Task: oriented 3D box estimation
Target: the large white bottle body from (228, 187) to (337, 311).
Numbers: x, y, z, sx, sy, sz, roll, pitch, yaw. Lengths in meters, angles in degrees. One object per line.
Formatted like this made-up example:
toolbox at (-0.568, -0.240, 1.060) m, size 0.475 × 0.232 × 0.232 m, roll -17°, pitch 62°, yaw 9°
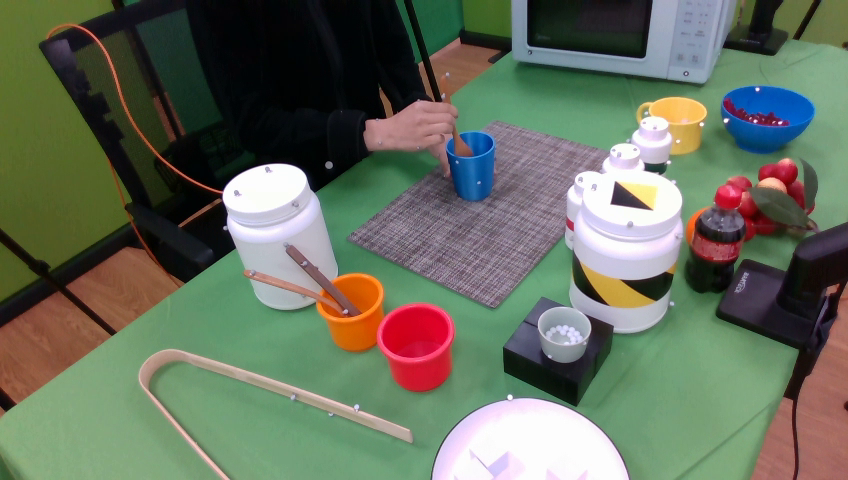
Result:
large white bottle body at (-0.207, -0.002, 0.883) m, size 0.130 × 0.185 × 0.130 m, roll -4°, pitch 40°, yaw 4°

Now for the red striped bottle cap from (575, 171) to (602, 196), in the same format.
red striped bottle cap at (0.242, -0.081, 0.876) m, size 0.044 × 0.018 × 0.044 m, roll -5°, pitch 44°, yaw 5°

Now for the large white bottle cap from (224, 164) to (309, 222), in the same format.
large white bottle cap at (-0.215, -0.066, 0.829) m, size 0.115 × 0.018 × 0.114 m, roll -4°, pitch 40°, yaw 4°

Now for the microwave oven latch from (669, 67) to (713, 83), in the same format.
microwave oven latch at (0.556, -0.349, 1.261) m, size 0.078 × 0.029 × 0.030 m, roll 16°, pitch 46°, yaw 27°

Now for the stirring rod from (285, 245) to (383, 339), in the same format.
stirring rod at (-0.121, 0.071, 0.820) m, size 0.176 × 0.006 × 0.014 m, roll 44°, pitch 52°, yaw -6°

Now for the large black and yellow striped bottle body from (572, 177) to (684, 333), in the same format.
large black and yellow striped bottle body at (0.262, 0.017, 0.788) m, size 0.131 × 0.185 × 0.130 m, roll -5°, pitch 40°, yaw 4°

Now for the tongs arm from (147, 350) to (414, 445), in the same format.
tongs arm at (-0.193, 0.200, 0.757) m, size 0.382 × 0.026 × 0.051 m, roll 14°, pitch 49°, yaw 24°

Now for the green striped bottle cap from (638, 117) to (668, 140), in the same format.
green striped bottle cap at (0.369, -0.180, 0.974) m, size 0.044 × 0.020 × 0.044 m, roll -4°, pitch 41°, yaw 4°

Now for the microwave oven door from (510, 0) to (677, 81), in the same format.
microwave oven door at (0.354, -0.478, 1.290) m, size 0.353 × 0.245 × 0.039 m, roll 15°, pitch 45°, yaw 25°

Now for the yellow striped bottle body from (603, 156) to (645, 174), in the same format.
yellow striped bottle body at (0.313, -0.089, 0.956) m, size 0.063 × 0.121 × 0.062 m, roll -4°, pitch 40°, yaw 4°

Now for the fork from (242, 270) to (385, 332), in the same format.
fork at (-0.142, 0.082, 0.802) m, size 0.209 × 0.018 × 0.028 m, roll 28°, pitch 38°, yaw -26°

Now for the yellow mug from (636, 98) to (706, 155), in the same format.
yellow mug at (0.453, -0.217, 1.128) m, size 0.100 × 0.064 × 0.129 m, roll -34°, pitch 46°, yaw -27°

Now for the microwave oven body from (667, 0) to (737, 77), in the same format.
microwave oven body at (0.462, -0.552, 1.368) m, size 0.439 × 0.261 × 0.326 m, roll 14°, pitch 45°, yaw 26°

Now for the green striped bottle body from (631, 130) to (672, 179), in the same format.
green striped bottle body at (0.375, -0.140, 1.007) m, size 0.063 × 0.120 × 0.063 m, roll -5°, pitch 40°, yaw 4°

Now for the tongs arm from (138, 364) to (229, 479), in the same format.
tongs arm at (-0.241, 0.255, 0.706) m, size 0.384 × 0.028 × 0.028 m, roll 27°, pitch 59°, yaw 34°

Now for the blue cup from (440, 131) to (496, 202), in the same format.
blue cup at (0.083, -0.122, 1.042) m, size 0.092 × 0.100 × 0.092 m, roll -5°, pitch 40°, yaw 5°

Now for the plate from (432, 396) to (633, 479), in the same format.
plate at (0.112, 0.261, 0.634) m, size 0.209 × 0.038 × 0.208 m, roll -5°, pitch 40°, yaw 4°

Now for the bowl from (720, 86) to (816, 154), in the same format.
bowl at (0.605, -0.206, 1.081) m, size 0.151 × 0.077 × 0.150 m, roll -5°, pitch 40°, yaw 5°

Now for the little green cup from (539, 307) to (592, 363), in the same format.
little green cup at (0.168, 0.115, 0.721) m, size 0.061 × 0.039 × 0.061 m, roll -4°, pitch 42°, yaw 4°

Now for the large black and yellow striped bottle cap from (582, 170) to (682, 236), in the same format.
large black and yellow striped bottle cap at (0.252, -0.048, 0.735) m, size 0.115 × 0.019 × 0.114 m, roll -3°, pitch 40°, yaw 3°

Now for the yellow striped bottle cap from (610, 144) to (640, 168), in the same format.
yellow striped bottle cap at (0.307, -0.128, 0.923) m, size 0.044 × 0.019 × 0.044 m, roll -5°, pitch 40°, yaw 5°

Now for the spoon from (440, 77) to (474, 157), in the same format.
spoon at (0.050, -0.182, 0.973) m, size 0.042 × 0.195 × 0.021 m, roll -30°, pitch 46°, yaw -7°

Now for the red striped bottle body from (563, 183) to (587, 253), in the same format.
red striped bottle body at (0.246, -0.041, 0.910) m, size 0.063 × 0.120 × 0.062 m, roll -2°, pitch 38°, yaw 2°
